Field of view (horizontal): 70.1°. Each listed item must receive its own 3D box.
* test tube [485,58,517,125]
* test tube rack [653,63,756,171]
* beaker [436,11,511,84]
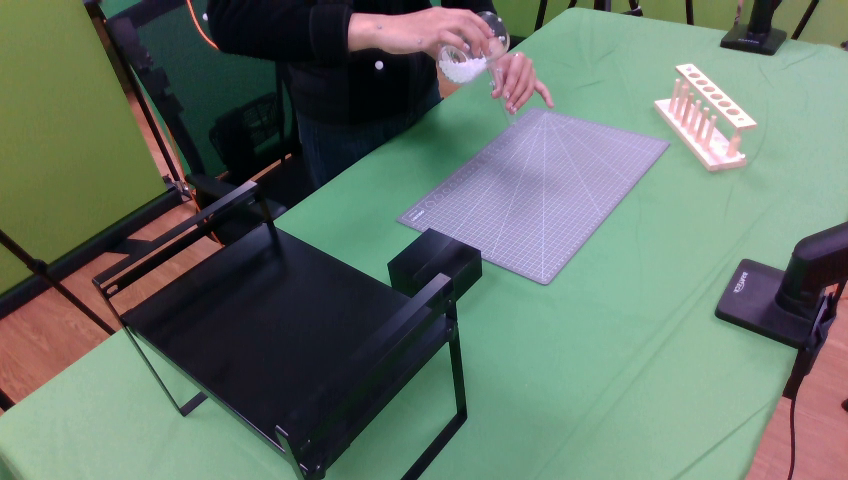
[{"bbox_3d":[0.131,-0.244,1.010,0.017,0.151,0.017,-12,55,18],"label":"test tube"},{"bbox_3d":[0.510,-0.233,1.120,0.067,0.085,0.241,-9,41,-1],"label":"test tube rack"},{"bbox_3d":[0.072,-0.282,0.902,0.073,0.084,0.100,23,52,29],"label":"beaker"}]
